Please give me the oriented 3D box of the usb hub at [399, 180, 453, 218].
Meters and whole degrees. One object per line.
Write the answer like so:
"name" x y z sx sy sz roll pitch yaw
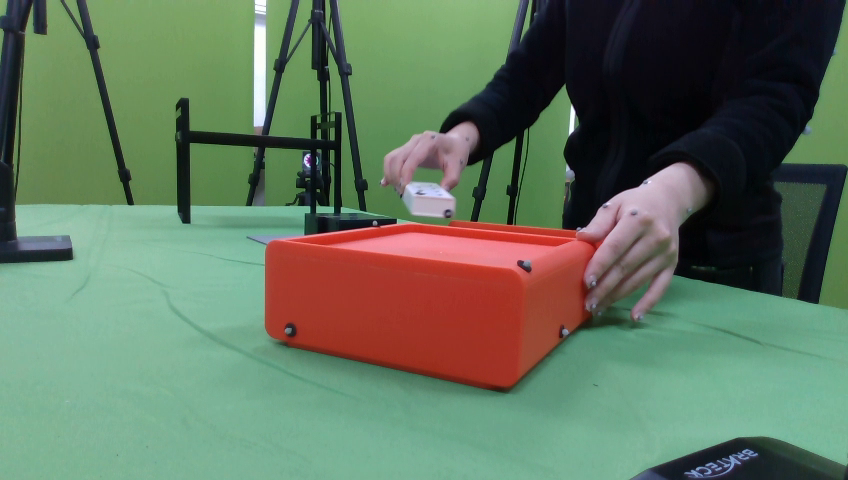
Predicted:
"usb hub" 0.000 -0.052 0.735 0.049 0.025 0.125 4 13 -9

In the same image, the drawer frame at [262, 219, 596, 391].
"drawer frame" 0.017 0.036 0.495 0.201 0.082 0.214 6 9 26

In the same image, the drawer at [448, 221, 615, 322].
"drawer" 0.062 0.031 0.580 0.194 0.073 0.212 6 10 28
